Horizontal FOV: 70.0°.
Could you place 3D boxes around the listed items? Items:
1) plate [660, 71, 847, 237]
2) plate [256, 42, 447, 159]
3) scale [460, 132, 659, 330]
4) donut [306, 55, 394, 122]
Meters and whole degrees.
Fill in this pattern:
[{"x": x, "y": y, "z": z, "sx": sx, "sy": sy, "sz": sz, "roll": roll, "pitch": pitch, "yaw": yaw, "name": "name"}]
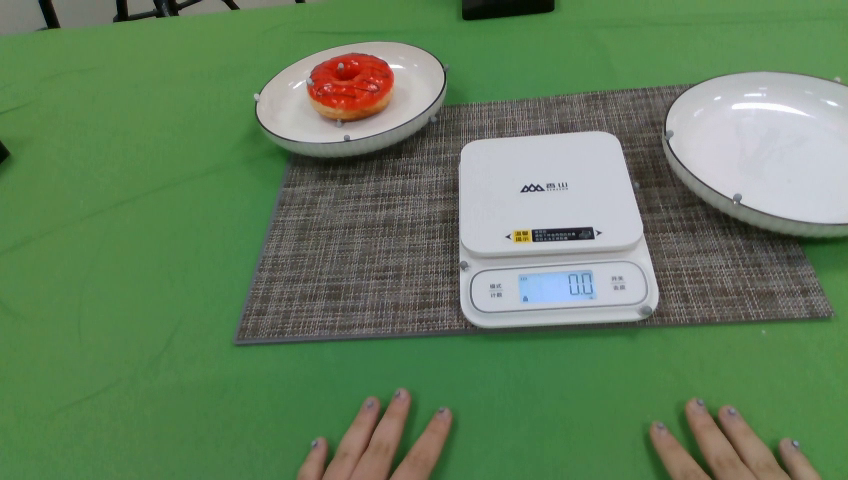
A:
[{"x": 0.312, "y": -0.076, "z": 0.527, "sx": 0.207, "sy": 0.039, "sz": 0.205, "roll": -3, "pitch": 47, "yaw": 4, "name": "plate"}, {"x": -0.077, "y": -0.151, "z": 0.664, "sx": 0.209, "sy": 0.038, "sz": 0.207, "roll": -5, "pitch": 45, "yaw": 6, "name": "plate"}, {"x": 0.104, "y": -0.016, "z": 0.510, "sx": 0.148, "sy": 0.032, "sz": 0.199, "roll": -4, "pitch": 47, "yaw": 7, "name": "scale"}, {"x": -0.080, "y": -0.166, "z": 0.665, "sx": 0.099, "sy": 0.049, "sz": 0.098, "roll": -4, "pitch": 45, "yaw": 4, "name": "donut"}]
